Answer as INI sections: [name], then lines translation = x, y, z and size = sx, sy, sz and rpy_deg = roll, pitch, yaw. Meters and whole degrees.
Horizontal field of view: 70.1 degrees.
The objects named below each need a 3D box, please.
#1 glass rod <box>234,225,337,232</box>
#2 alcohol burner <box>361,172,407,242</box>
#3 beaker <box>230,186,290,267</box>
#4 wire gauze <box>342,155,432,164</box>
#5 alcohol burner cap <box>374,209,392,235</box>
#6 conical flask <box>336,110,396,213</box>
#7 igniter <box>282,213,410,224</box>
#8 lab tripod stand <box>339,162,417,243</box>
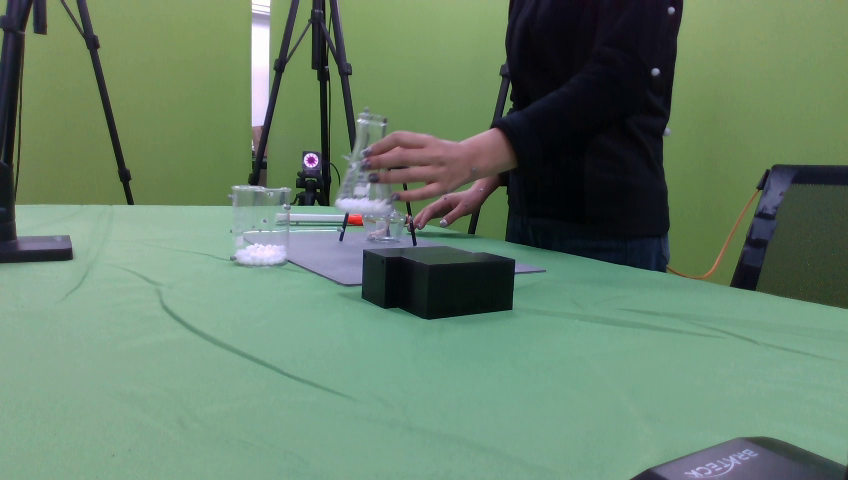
[glass rod]
translation = -0.256, -0.022, 1.136
size = 0.201, 0.008, 0.008
rpy_deg = -3, 8, -33
[alcohol burner]
translation = -0.067, -0.056, 1.030
size = 0.078, 0.119, 0.078
rpy_deg = 3, 9, 0
[beaker]
translation = -0.209, -0.019, 0.778
size = 0.074, 0.100, 0.084
rpy_deg = 3, 6, 4
[wire gauze]
translation = -0.065, -0.131, 1.017
size = 0.122, 0.011, 0.124
rpy_deg = 1, 9, -26
[alcohol burner cap]
translation = -0.078, -0.036, 1.148
size = 0.034, 0.048, 0.034
rpy_deg = 3, 8, 0
[conical flask]
translation = -0.066, -0.097, 0.746
size = 0.075, 0.122, 0.075
rpy_deg = 7, 8, -1
[igniter]
translation = -0.159, -0.046, 1.287
size = 0.278, 0.025, 0.057
rpy_deg = -1, -2, -21
[lab tripod stand]
translation = -0.067, -0.065, 1.027
size = 0.148, 0.131, 0.148
rpy_deg = 4, 7, 0
